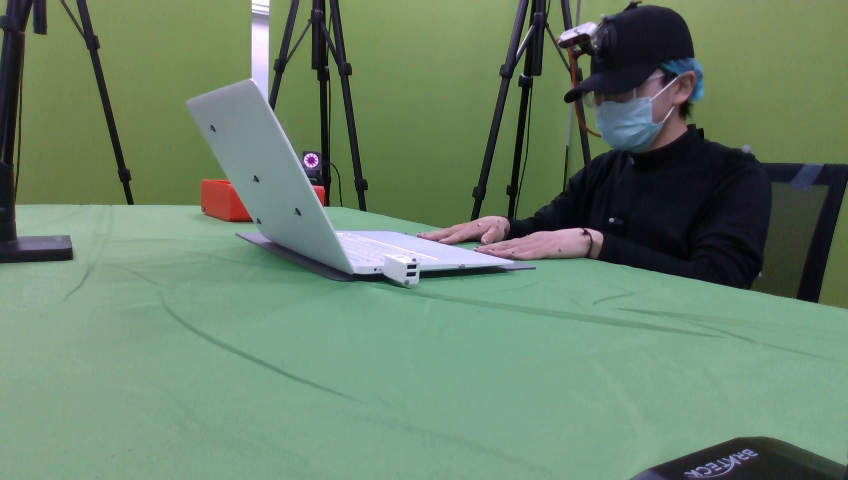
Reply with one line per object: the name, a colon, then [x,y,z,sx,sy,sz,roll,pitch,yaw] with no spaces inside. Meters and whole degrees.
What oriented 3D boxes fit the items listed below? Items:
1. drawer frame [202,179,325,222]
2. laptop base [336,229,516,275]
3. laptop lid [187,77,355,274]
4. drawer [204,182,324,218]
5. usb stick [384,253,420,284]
drawer frame: [-0.361,-0.092,1.356,0.215,0.082,0.200,-4,10,-37]
laptop base: [-0.066,0.014,0.877,0.237,0.023,0.352,2,7,-32]
laptop lid: [-0.211,-0.082,0.772,0.013,0.242,0.355,-34,25,-23]
drawer: [-0.360,-0.091,1.358,0.213,0.073,0.193,-4,10,-36]
usb stick: [-0.028,0.030,0.675,0.021,0.027,0.059,-2,10,-34]
